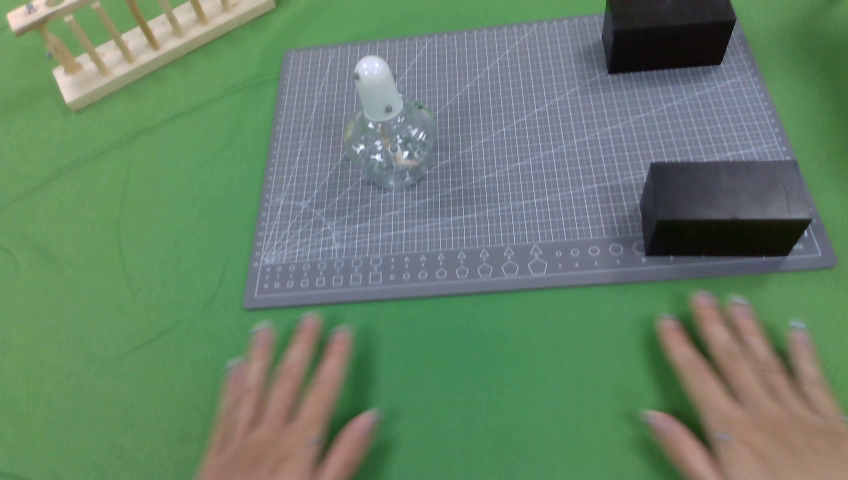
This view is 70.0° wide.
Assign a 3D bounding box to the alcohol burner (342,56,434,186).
[{"bbox_3d":[-0.032,-0.099,0.491,0.078,0.120,0.077,-4,56,7],"label":"alcohol burner"}]

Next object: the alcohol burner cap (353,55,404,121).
[{"bbox_3d":[-0.036,-0.118,0.461,0.034,0.048,0.033,-7,54,10],"label":"alcohol burner cap"}]

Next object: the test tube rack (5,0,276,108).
[{"bbox_3d":[-0.289,-0.244,0.638,0.242,0.086,0.066,-32,60,-11],"label":"test tube rack"}]
